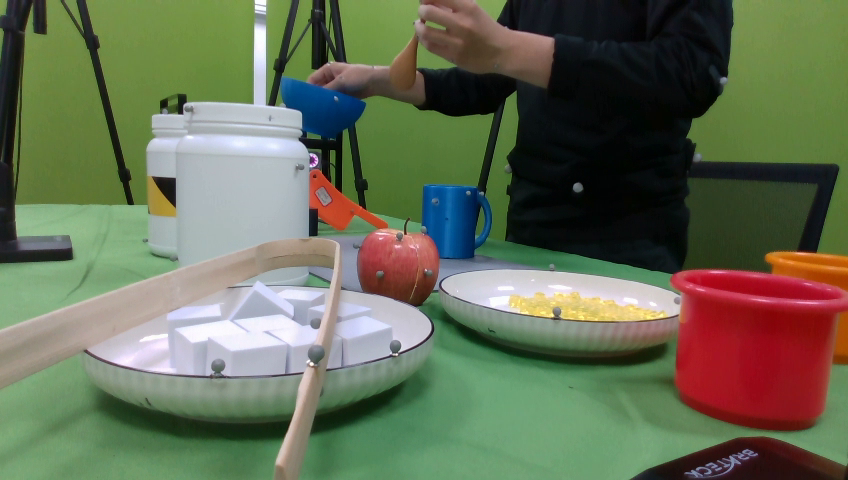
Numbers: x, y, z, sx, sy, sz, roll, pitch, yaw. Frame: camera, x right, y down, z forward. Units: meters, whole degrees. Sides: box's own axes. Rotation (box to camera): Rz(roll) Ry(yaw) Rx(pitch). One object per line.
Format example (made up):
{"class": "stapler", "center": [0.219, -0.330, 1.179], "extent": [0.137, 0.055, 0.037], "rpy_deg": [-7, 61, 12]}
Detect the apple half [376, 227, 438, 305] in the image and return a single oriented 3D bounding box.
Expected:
{"class": "apple half", "center": [-0.017, 0.026, 0.593], "extent": [0.080, 0.074, 0.053], "rpy_deg": [4, 2, 43]}

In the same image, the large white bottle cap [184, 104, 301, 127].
{"class": "large white bottle cap", "center": [-0.184, -0.126, 0.618], "extent": [0.115, 0.018, 0.115], "rpy_deg": [2, 8, 0]}

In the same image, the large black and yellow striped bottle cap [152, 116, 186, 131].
{"class": "large black and yellow striped bottle cap", "center": [-0.309, -0.155, 0.826], "extent": [0.115, 0.019, 0.115], "rpy_deg": [3, 6, 0]}

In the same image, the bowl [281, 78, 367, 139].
{"class": "bowl", "center": [-0.181, -0.223, 1.055], "extent": [0.151, 0.077, 0.151], "rpy_deg": [15, 9, -2]}

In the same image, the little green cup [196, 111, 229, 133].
{"class": "little green cup", "center": [-0.403, -0.225, 1.154], "extent": [0.061, 0.038, 0.061], "rpy_deg": [3, 8, 0]}

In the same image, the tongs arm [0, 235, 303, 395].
{"class": "tongs arm", "center": [-0.157, 0.038, 0.351], "extent": [0.028, 0.028, 0.388], "rpy_deg": [-3, 9, 12]}

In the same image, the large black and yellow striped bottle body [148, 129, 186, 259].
{"class": "large black and yellow striped bottle body", "center": [-0.310, -0.073, 0.838], "extent": [0.131, 0.184, 0.130], "rpy_deg": [2, 8, 0]}

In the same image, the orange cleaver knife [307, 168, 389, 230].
{"class": "orange cleaver knife", "center": [-0.158, -0.060, 1.166], "extent": [0.212, 0.077, 0.012], "rpy_deg": [34, -12, -32]}

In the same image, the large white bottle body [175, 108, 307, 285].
{"class": "large white bottle body", "center": [-0.188, -0.042, 0.630], "extent": [0.131, 0.184, 0.130], "rpy_deg": [2, 8, 0]}

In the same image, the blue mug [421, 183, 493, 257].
{"class": "blue mug", "center": [0.052, -0.032, 0.912], "extent": [0.117, 0.106, 0.082], "rpy_deg": [-1, 8, -24]}

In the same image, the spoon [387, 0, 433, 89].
{"class": "spoon", "center": [-0.008, -0.285, 0.806], "extent": [0.041, 0.193, 0.021], "rpy_deg": [28, 35, 5]}

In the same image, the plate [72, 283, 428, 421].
{"class": "plate", "center": [-0.102, 0.066, 0.381], "extent": [0.208, 0.039, 0.207], "rpy_deg": [2, 7, 0]}

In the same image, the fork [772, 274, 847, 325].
{"class": "fork", "center": [0.332, 0.018, 0.443], "extent": [0.028, 0.018, 0.207], "rpy_deg": [-1, -36, -16]}

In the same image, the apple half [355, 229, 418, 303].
{"class": "apple half", "center": [-0.043, 0.027, 0.564], "extent": [0.081, 0.081, 0.033], "rpy_deg": [9, 5, 42]}

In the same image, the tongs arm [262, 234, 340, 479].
{"class": "tongs arm", "center": [-0.074, 0.039, 0.349], "extent": [0.051, 0.026, 0.384], "rpy_deg": [-2, 10, -3]}

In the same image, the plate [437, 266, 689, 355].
{"class": "plate", "center": [0.114, 0.057, 0.517], "extent": [0.209, 0.038, 0.209], "rpy_deg": [3, 7, 0]}

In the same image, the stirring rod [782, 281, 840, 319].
{"class": "stirring rod", "center": [0.344, 0.019, 0.460], "extent": [0.014, 0.006, 0.176], "rpy_deg": [-13, -27, -30]}
